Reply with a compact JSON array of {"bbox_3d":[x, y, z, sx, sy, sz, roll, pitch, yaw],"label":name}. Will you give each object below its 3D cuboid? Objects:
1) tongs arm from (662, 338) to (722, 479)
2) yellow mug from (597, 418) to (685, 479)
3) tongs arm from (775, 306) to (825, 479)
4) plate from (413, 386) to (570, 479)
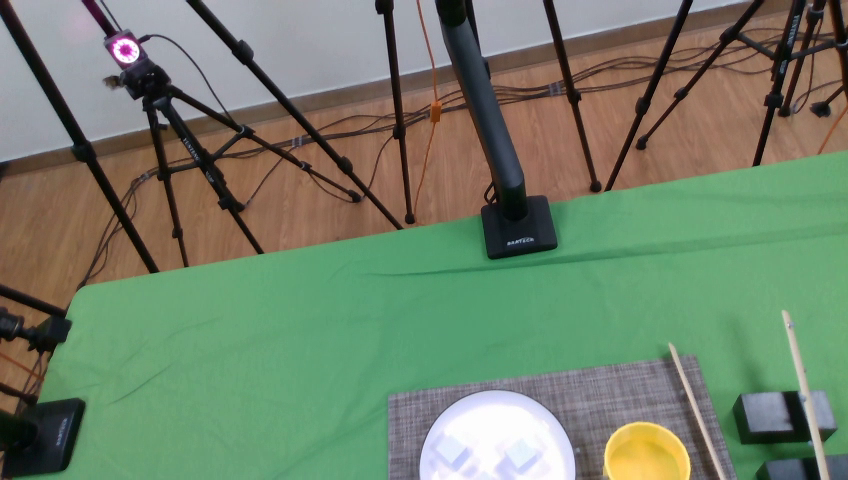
[{"bbox_3d":[0.373,0.291,0.747,0.028,0.028,0.383,-28,49,21],"label":"tongs arm"},{"bbox_3d":[0.262,0.294,0.753,0.099,0.064,0.130,19,62,25],"label":"yellow mug"},{"bbox_3d":[0.437,0.261,0.705,0.050,0.027,0.381,-19,54,32],"label":"tongs arm"},{"bbox_3d":[0.089,0.300,0.811,0.207,0.039,0.205,-7,54,10],"label":"plate"}]
